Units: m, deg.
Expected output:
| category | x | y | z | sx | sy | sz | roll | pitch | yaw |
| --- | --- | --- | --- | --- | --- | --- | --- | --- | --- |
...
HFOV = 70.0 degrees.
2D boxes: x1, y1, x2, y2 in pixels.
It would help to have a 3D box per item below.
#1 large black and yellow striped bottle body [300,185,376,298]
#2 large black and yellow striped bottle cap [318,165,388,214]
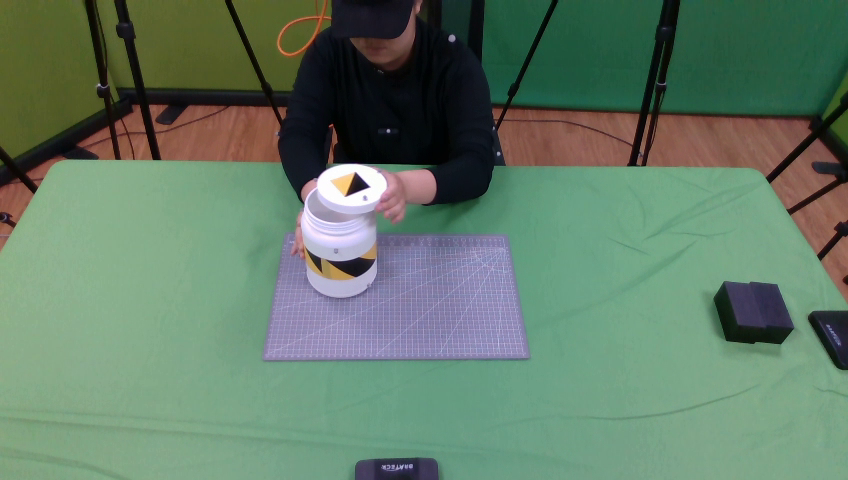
| category | x | y | z | sx | sy | sz | roll | pitch | yaw |
| --- | --- | --- | --- | --- | --- | --- | --- | --- | --- |
| large black and yellow striped bottle body | -0.150 | -0.001 | 1.072 | 0.131 | 0.185 | 0.130 | 2 | 46 | -2 |
| large black and yellow striped bottle cap | -0.116 | -0.085 | 0.993 | 0.115 | 0.019 | 0.114 | 3 | 41 | -3 |
